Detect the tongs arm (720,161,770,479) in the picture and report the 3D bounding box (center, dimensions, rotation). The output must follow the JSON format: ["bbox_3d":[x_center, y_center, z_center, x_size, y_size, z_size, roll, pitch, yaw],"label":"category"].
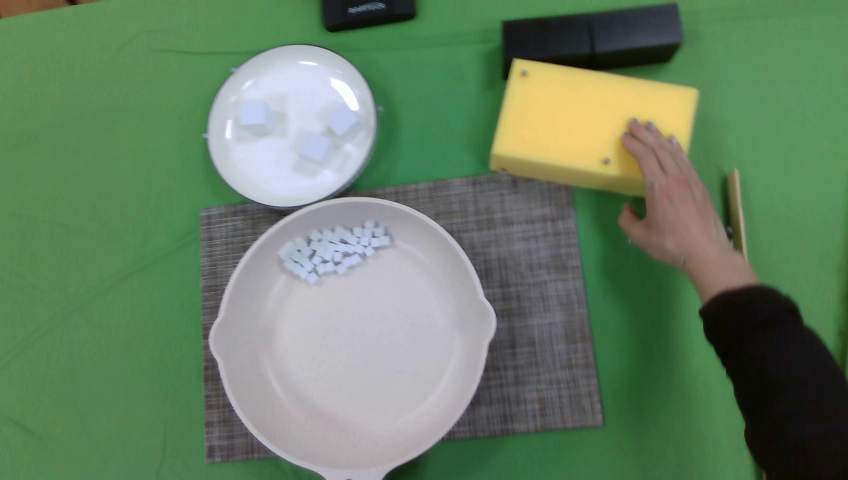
[{"bbox_3d":[0.355,0.102,0.657,0.028,0.028,0.386,-4,80,3],"label":"tongs arm"}]

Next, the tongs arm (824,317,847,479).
[{"bbox_3d":[0.435,0.107,0.644,0.050,0.026,0.383,9,83,8],"label":"tongs arm"}]

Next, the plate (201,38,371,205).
[{"bbox_3d":[-0.164,-0.141,0.739,0.207,0.039,0.207,-1,80,5],"label":"plate"}]

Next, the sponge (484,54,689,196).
[{"bbox_3d":[0.181,-0.131,0.694,0.206,0.061,0.118,11,79,6],"label":"sponge"}]

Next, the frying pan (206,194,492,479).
[{"bbox_3d":[-0.075,0.195,0.635,0.306,0.103,0.484,-4,72,5],"label":"frying pan"}]
